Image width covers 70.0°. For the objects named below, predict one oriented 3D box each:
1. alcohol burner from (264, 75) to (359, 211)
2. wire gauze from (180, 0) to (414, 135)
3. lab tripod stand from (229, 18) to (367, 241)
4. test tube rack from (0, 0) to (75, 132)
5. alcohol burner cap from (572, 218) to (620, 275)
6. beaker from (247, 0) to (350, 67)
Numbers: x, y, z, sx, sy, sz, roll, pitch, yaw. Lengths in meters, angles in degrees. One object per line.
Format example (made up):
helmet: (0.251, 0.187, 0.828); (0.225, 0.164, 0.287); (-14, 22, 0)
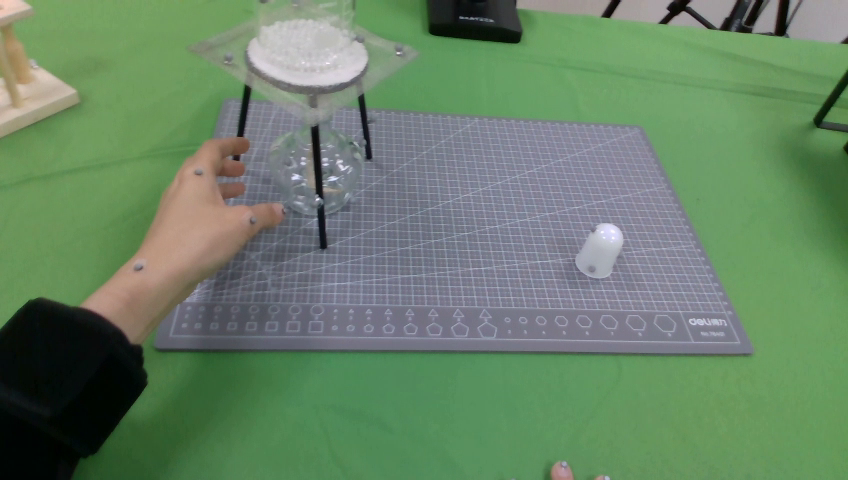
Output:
alcohol burner: (-0.091, -0.082, 0.493); (0.078, 0.120, 0.077); (6, 45, -6)
wire gauze: (-0.089, -0.138, 0.442); (0.124, 0.011, 0.121); (34, 53, 15)
lab tripod stand: (-0.095, -0.094, 0.490); (0.149, 0.132, 0.147); (6, 47, -7)
test tube rack: (-0.424, -0.114, 0.486); (0.066, 0.086, 0.242); (31, 50, 18)
alcohol burner cap: (0.146, 0.003, 0.506); (0.034, 0.048, 0.033); (5, 47, -5)
beaker: (-0.087, -0.176, 0.410); (0.073, 0.101, 0.084); (39, 54, 23)
